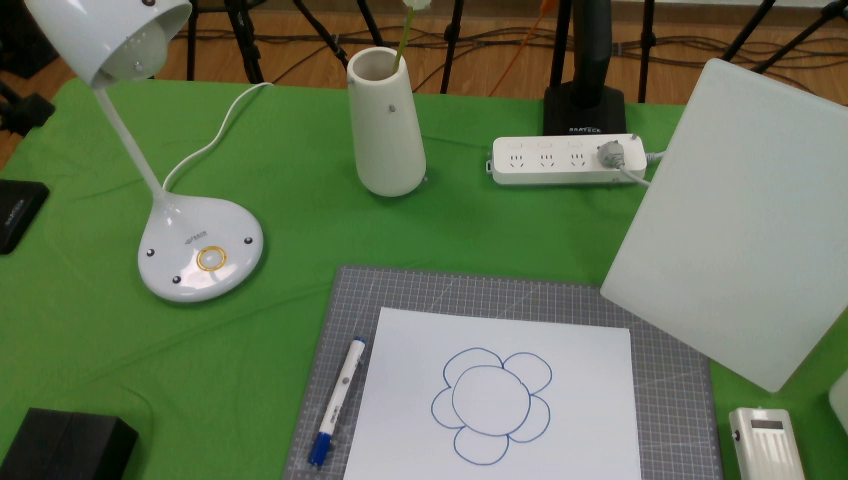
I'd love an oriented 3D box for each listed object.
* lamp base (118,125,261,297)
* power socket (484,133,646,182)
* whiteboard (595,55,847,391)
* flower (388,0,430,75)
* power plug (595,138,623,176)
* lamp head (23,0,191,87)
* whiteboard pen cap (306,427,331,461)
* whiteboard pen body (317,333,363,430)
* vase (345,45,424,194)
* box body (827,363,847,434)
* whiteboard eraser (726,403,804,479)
[{"bbox_3d":[-0.309,-0.045,0.742,0.177,0.182,0.160,33,62,27],"label":"lamp base"},{"bbox_3d":[0.199,-0.117,0.855,0.227,0.033,0.071,0,56,3],"label":"power socket"},{"bbox_3d":[0.361,-0.030,0.656,0.215,0.307,0.144,32,42,24],"label":"whiteboard"},{"bbox_3d":[-0.040,-0.190,0.718,0.044,0.363,0.038,-31,75,-27],"label":"flower"},{"bbox_3d":[0.247,-0.105,0.817,0.035,0.053,0.072,9,62,9],"label":"power plug"},{"bbox_3d":[-0.276,-0.204,0.498,0.123,0.112,0.112,46,62,-13],"label":"lamp head"},{"bbox_3d":[-0.111,0.216,0.643,0.018,0.018,0.033,11,58,11],"label":"whiteboard pen cap"},{"bbox_3d":[-0.096,0.168,0.673,0.017,0.017,0.140,12,58,12],"label":"whiteboard pen body"},{"bbox_3d":[-0.054,-0.151,0.792,0.098,0.202,0.097,-2,54,3],"label":"vase"},{"bbox_3d":[0.570,0.228,0.512,0.254,0.162,0.360,-11,55,-4],"label":"box body"},{"bbox_3d":[0.341,0.221,0.604,0.055,0.042,0.111,3,55,4],"label":"whiteboard eraser"}]
